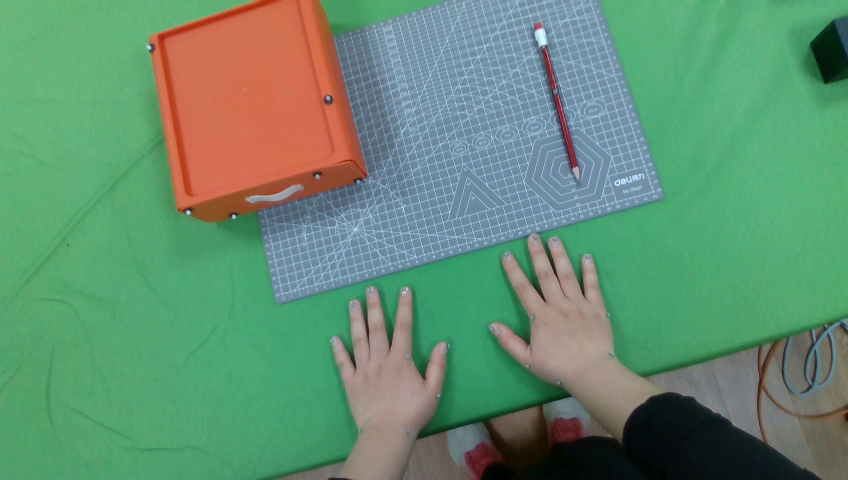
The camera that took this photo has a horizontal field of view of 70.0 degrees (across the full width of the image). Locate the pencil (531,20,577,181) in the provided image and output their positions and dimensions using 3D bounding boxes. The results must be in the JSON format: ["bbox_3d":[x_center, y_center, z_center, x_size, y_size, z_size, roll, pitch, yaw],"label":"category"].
[{"bbox_3d":[0.148,-0.159,0.687,0.012,0.012,0.193,-13,82,5],"label":"pencil"}]

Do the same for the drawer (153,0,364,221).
[{"bbox_3d":[-0.190,-0.147,0.693,0.194,0.073,0.210,-16,78,6],"label":"drawer"}]

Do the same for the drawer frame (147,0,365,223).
[{"bbox_3d":[-0.192,-0.149,0.692,0.201,0.083,0.212,-17,78,6],"label":"drawer frame"}]
